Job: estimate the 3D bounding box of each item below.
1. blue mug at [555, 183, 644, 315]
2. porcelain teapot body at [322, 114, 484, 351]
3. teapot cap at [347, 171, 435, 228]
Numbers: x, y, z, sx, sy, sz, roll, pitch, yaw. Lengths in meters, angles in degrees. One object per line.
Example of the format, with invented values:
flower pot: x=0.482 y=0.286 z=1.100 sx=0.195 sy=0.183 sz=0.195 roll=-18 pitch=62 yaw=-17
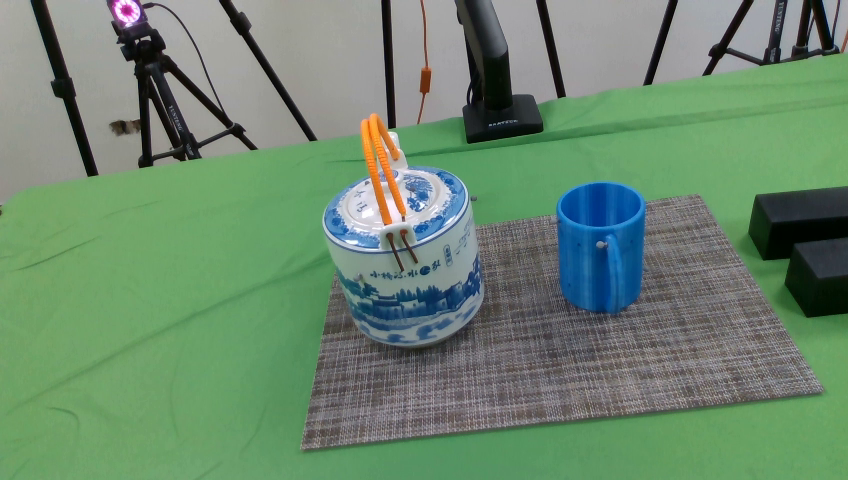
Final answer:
blue mug: x=0.176 y=0.018 z=0.597 sx=0.082 sy=0.107 sz=0.115 roll=-8 pitch=37 yaw=6
porcelain teapot body: x=-0.027 y=-0.026 z=0.614 sx=0.145 sy=0.227 sz=0.203 roll=-13 pitch=36 yaw=0
teapot cap: x=-0.032 y=-0.041 z=0.568 sx=0.085 sy=0.044 sz=0.084 roll=-5 pitch=35 yaw=4
